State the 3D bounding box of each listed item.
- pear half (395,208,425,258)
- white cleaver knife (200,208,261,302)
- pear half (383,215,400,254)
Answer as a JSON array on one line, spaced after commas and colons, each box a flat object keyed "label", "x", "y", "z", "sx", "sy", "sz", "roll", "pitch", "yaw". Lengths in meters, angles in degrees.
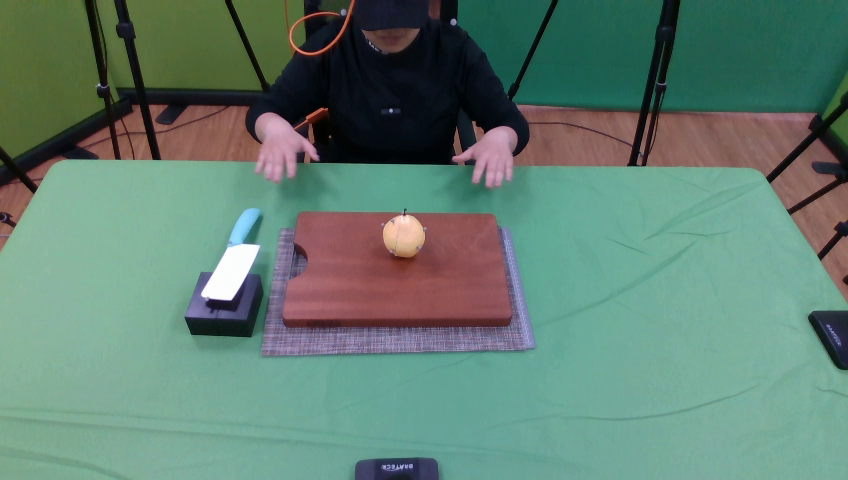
[{"label": "pear half", "x": -0.025, "y": -0.018, "z": 1.113, "sx": 0.056, "sy": 0.110, "sz": 0.076, "roll": 0, "pitch": 50, "yaw": -3}, {"label": "white cleaver knife", "x": -0.338, "y": 0.024, "z": 1.116, "sx": 0.066, "sy": 0.021, "sz": 0.285, "roll": 6, "pitch": 35, "yaw": -3}, {"label": "pear half", "x": -0.061, "y": -0.013, "z": 1.119, "sx": 0.031, "sy": 0.088, "sz": 0.070, "roll": 0, "pitch": 54, "yaw": -4}]
